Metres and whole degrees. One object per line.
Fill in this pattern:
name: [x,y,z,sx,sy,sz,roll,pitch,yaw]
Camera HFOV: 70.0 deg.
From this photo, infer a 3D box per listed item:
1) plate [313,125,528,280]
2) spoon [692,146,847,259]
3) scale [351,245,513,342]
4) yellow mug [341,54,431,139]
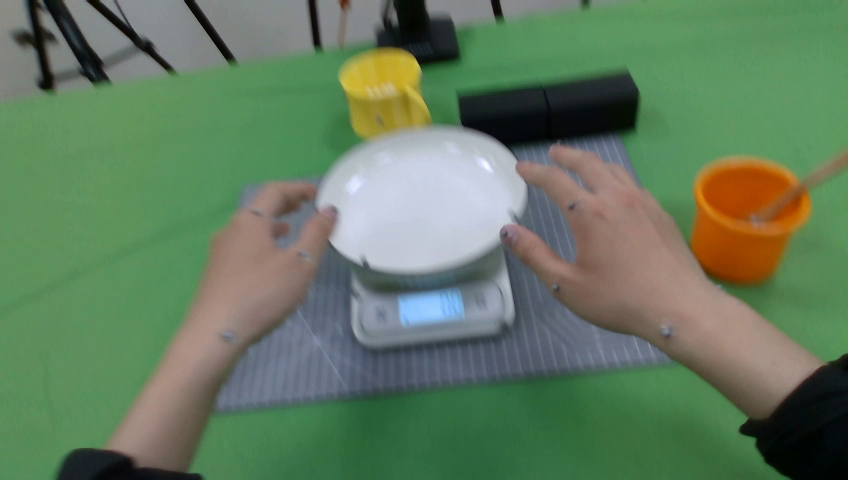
plate: [-0.003,-0.037,0.595,0.209,0.038,0.207,-4,46,5]
spoon: [0.316,-0.043,0.513,0.022,0.194,0.041,22,41,-31]
scale: [0.002,0.006,0.598,0.148,0.032,0.199,-7,46,4]
yellow mug: [-0.038,-0.176,0.763,0.129,0.064,0.100,32,59,33]
